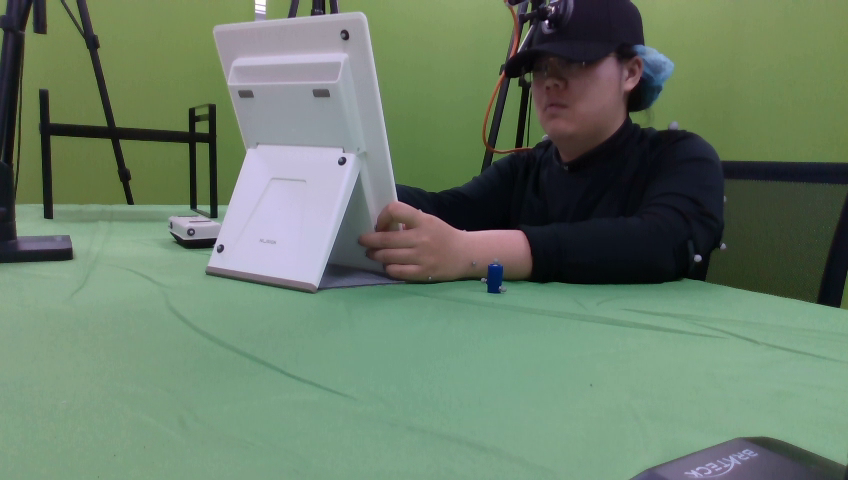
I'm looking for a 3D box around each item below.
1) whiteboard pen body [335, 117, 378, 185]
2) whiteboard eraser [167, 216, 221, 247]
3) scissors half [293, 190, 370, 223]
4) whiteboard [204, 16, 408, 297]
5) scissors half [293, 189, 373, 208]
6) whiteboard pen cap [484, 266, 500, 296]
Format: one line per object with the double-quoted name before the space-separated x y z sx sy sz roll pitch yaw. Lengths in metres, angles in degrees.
"whiteboard pen body" -0.086 -0.114 0.770 0.017 0.017 0.141 5 45 17
"whiteboard eraser" -0.350 -0.013 0.920 0.056 0.042 0.112 0 7 -35
"scissors half" -0.205 -0.077 1.338 0.175 0.040 0.013 22 11 -8
"whiteboard" -0.166 -0.072 0.669 0.216 0.305 0.144 8 30 30
"scissors half" -0.201 -0.096 1.332 0.175 0.040 0.013 5 18 -4
"whiteboard pen cap" 0.075 0.046 0.668 0.018 0.033 0.018 3 7 0
